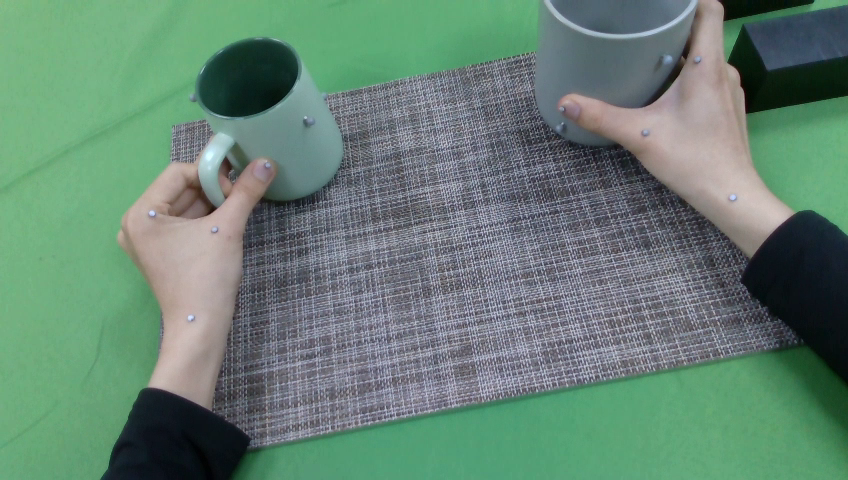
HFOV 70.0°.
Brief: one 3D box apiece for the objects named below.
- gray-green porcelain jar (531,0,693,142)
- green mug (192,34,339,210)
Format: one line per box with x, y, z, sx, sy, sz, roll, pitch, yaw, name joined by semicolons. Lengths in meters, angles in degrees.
0.134;-0.145;0.456;0.106;0.127;0.105;-3;62;6;gray-green porcelain jar
-0.128;-0.080;0.469;0.092;0.106;0.125;21;67;17;green mug
